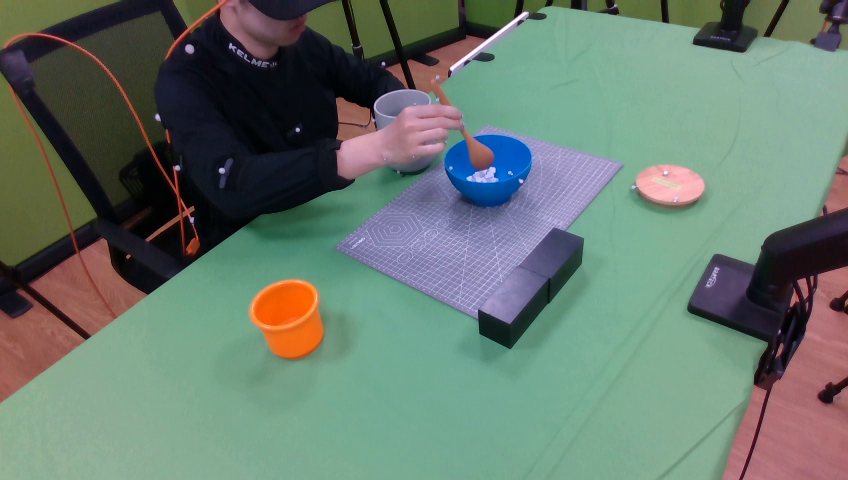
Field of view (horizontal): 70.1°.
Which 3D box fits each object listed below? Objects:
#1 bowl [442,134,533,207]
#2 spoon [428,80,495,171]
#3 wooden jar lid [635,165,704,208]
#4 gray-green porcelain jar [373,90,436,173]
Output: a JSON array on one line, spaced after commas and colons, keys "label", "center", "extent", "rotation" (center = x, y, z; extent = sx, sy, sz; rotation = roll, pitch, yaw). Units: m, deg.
[{"label": "bowl", "center": [0.110, -0.109, 1.033], "extent": [0.151, 0.077, 0.150], "rotation": [-4, 40, 4]}, {"label": "spoon", "center": [0.057, -0.172, 0.933], "extent": [0.041, 0.195, 0.021], "rotation": [-34, 37, 10]}, {"label": "wooden jar lid", "center": [0.411, -0.089, 1.014], "extent": [0.108, 0.021, 0.108], "rotation": [-5, 42, 5]}, {"label": "gray-green porcelain jar", "center": [-0.034, -0.198, 1.125], "extent": [0.106, 0.127, 0.105], "rotation": [-4, 41, 4]}]
